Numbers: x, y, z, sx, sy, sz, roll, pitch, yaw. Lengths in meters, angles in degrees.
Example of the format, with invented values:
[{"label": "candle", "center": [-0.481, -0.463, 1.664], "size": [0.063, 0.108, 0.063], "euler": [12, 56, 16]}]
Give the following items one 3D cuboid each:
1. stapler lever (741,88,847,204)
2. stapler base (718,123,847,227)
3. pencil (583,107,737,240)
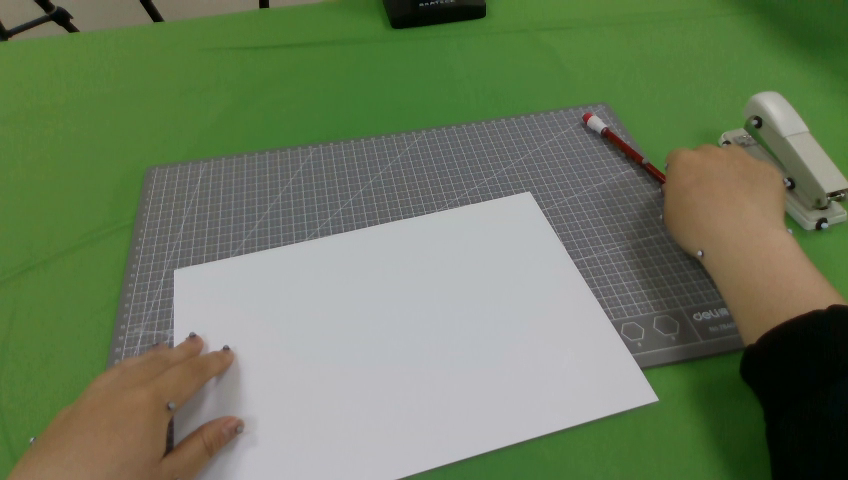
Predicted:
[{"label": "stapler lever", "center": [0.308, -0.082, 0.502], "size": [0.027, 0.040, 0.116], "euler": [-15, 50, -8]}, {"label": "stapler base", "center": [0.308, -0.066, 0.522], "size": [0.041, 0.024, 0.129], "euler": [-15, 50, -8]}, {"label": "pencil", "center": [0.200, -0.063, 0.528], "size": [0.012, 0.012, 0.192], "euler": [-21, 51, -17]}]
